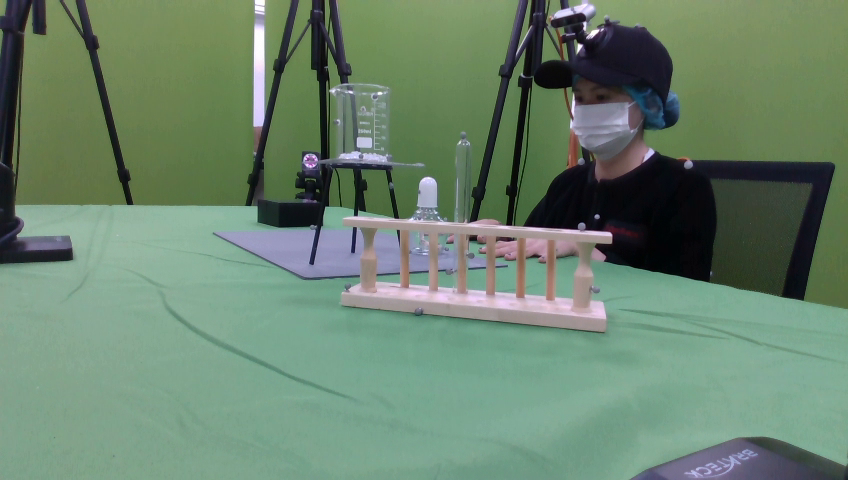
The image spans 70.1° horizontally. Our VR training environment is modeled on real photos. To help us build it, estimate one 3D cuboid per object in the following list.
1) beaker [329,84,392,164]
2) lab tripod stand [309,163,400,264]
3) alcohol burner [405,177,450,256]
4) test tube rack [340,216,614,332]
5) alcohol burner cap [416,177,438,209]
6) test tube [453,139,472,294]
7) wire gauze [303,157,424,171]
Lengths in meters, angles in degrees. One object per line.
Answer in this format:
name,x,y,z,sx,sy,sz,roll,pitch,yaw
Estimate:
beaker,-0.084,-0.149,0.794,0.084,0.100,0.073,-1,6,-23
lab tripod stand,-0.091,-0.037,0.813,0.148,0.131,0.148,1,6,0
alcohol burner,0.004,-0.036,0.917,0.078,0.119,0.078,3,6,0
test tube rack,0.048,0.026,0.568,0.242,0.085,0.067,4,8,13
alcohol burner cap,0.005,-0.072,0.914,0.034,0.048,0.034,3,9,0
test tube,0.037,-0.021,0.584,0.017,0.150,0.017,1,7,0
wire gauze,-0.082,-0.101,0.799,0.126,0.011,0.121,1,7,-30
